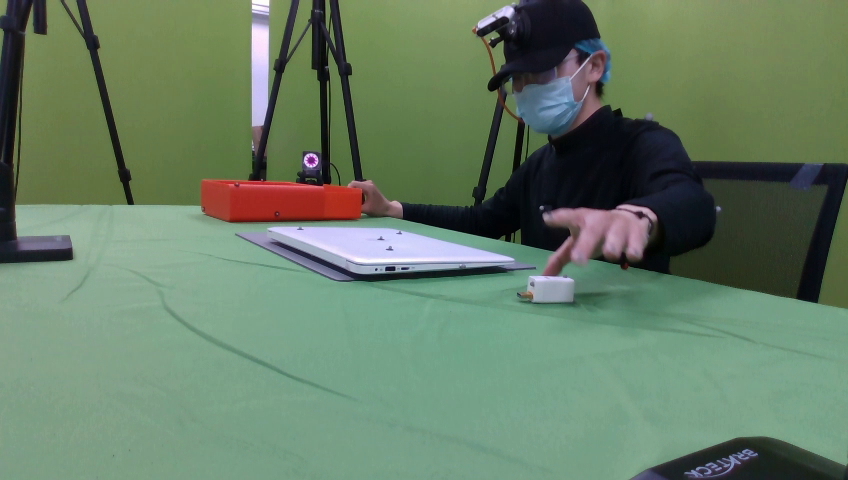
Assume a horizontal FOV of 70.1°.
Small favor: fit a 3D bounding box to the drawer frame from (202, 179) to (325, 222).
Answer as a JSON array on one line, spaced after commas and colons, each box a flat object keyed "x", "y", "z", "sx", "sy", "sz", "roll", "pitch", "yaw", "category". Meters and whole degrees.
[{"x": -0.361, "y": -0.092, "z": 1.356, "sx": 0.215, "sy": 0.082, "sz": 0.200, "roll": -4, "pitch": 10, "yaw": -37, "category": "drawer frame"}]

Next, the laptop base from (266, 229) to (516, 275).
[{"x": -0.065, "y": 0.014, "z": 0.877, "sx": 0.237, "sy": 0.023, "sz": 0.352, "roll": 2, "pitch": 6, "yaw": -32, "category": "laptop base"}]

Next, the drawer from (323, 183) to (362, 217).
[{"x": -0.283, "y": -0.095, "z": 1.416, "sx": 0.213, "sy": 0.073, "sz": 0.193, "roll": -3, "pitch": 10, "yaw": -37, "category": "drawer"}]

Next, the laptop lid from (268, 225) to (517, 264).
[{"x": -0.063, "y": 0.002, "z": 0.877, "sx": 0.243, "sy": 0.013, "sz": 0.355, "roll": 1, "pitch": 7, "yaw": -30, "category": "laptop lid"}]

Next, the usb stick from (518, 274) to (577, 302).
[{"x": 0.127, "y": 0.050, "z": 0.626, "sx": 0.059, "sy": 0.027, "sz": 0.021, "roll": -3, "pitch": 12, "yaw": -12, "category": "usb stick"}]
